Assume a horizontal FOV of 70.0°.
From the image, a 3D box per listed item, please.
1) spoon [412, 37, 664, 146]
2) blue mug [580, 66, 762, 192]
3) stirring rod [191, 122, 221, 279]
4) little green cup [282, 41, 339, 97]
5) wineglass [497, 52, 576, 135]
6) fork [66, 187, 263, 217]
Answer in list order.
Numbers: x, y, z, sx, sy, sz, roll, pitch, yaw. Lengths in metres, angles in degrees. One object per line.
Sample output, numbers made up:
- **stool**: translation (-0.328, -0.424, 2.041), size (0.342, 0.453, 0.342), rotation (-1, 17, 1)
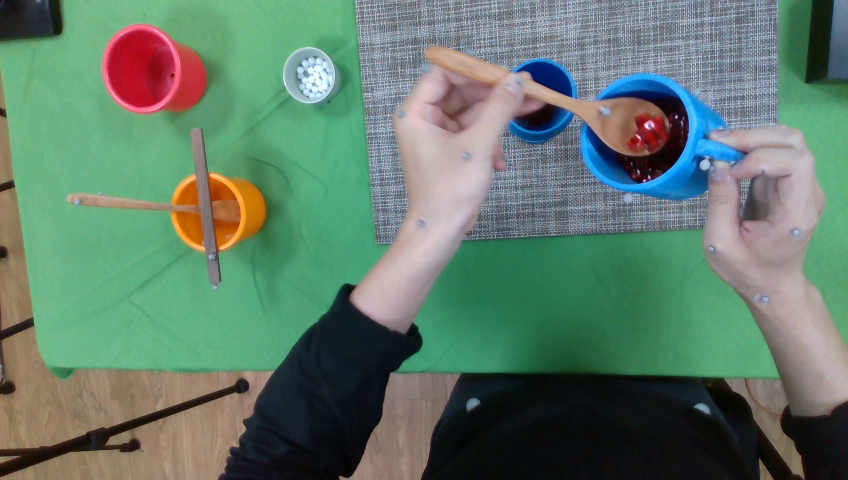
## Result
- **spoon**: translation (0.084, -0.106, 0.417), size (0.195, 0.021, 0.042), rotation (13, 114, -22)
- **blue mug**: translation (0.192, -0.075, 0.456), size (0.115, 0.106, 0.082), rotation (23, 104, 35)
- **stirring rod**: translation (-0.246, -0.043, 0.682), size (0.014, 0.006, 0.176), rotation (-3, 97, 11)
- **little green cup**: translation (-0.129, -0.194, 0.699), size (0.061, 0.038, 0.061), rotation (1, 99, 10)
- **wineglass**: translation (0.110, -0.138, 0.596), size (0.073, 0.172, 0.074), rotation (1, 98, 9)
- **fork**: translation (-0.288, -0.045, 0.691), size (0.209, 0.018, 0.028), rotation (3, 109, -35)
